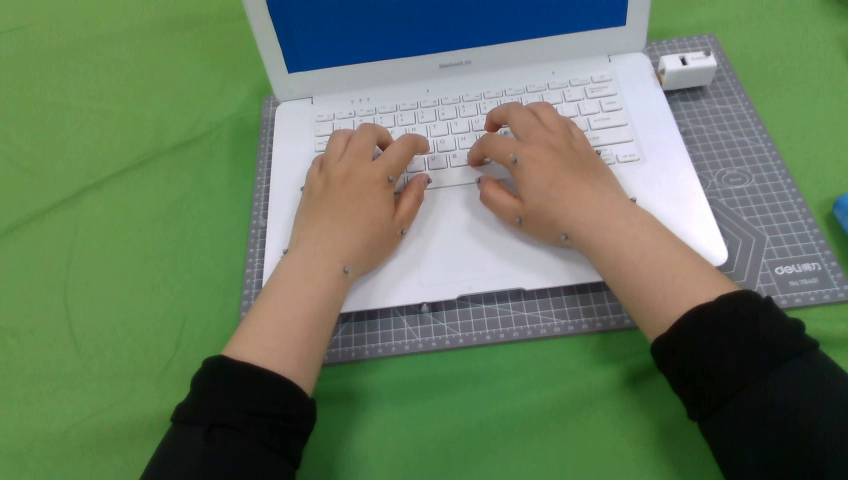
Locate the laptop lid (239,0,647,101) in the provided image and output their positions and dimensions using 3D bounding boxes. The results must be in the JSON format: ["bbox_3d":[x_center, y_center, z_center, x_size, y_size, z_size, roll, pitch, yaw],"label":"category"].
[{"bbox_3d":[0.014,-0.238,0.499,0.356,0.244,0.013,-9,43,4],"label":"laptop lid"}]

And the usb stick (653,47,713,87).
[{"bbox_3d":[0.223,-0.153,0.540,0.059,0.027,0.021,-8,56,7],"label":"usb stick"}]

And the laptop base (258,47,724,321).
[{"bbox_3d":[0.039,-0.056,0.516,0.354,0.023,0.233,-8,60,3],"label":"laptop base"}]

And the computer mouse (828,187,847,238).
[{"bbox_3d":[0.344,0.000,0.427,0.063,0.041,0.116,-12,51,4],"label":"computer mouse"}]
